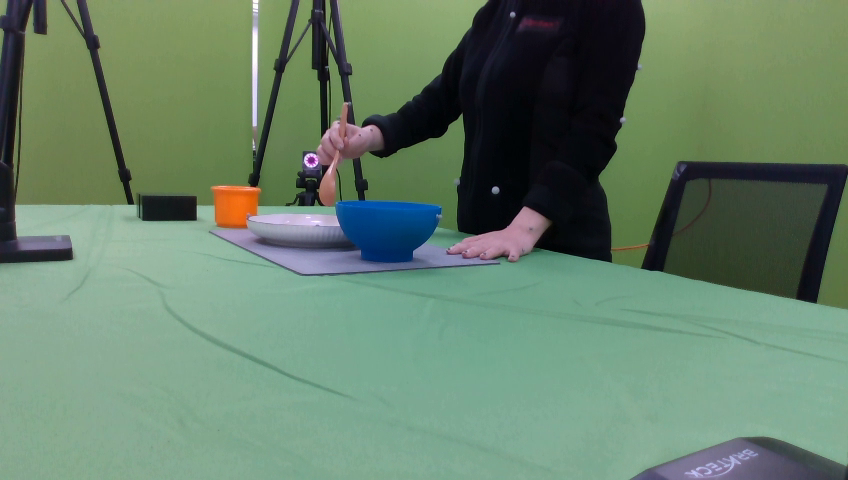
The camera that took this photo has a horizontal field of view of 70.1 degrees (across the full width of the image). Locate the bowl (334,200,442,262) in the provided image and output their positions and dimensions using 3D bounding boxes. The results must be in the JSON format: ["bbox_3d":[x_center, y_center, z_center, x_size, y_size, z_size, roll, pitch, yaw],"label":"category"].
[{"bbox_3d":[-0.051,-0.013,0.848,0.151,0.077,0.151,3,7,0],"label":"bowl"}]

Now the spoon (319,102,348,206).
[{"bbox_3d":[-0.153,-0.151,1.046,0.041,0.193,0.022,-8,-25,44],"label":"spoon"}]

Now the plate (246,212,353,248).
[{"bbox_3d":[-0.185,-0.017,0.995,0.209,0.038,0.209,3,8,0],"label":"plate"}]
